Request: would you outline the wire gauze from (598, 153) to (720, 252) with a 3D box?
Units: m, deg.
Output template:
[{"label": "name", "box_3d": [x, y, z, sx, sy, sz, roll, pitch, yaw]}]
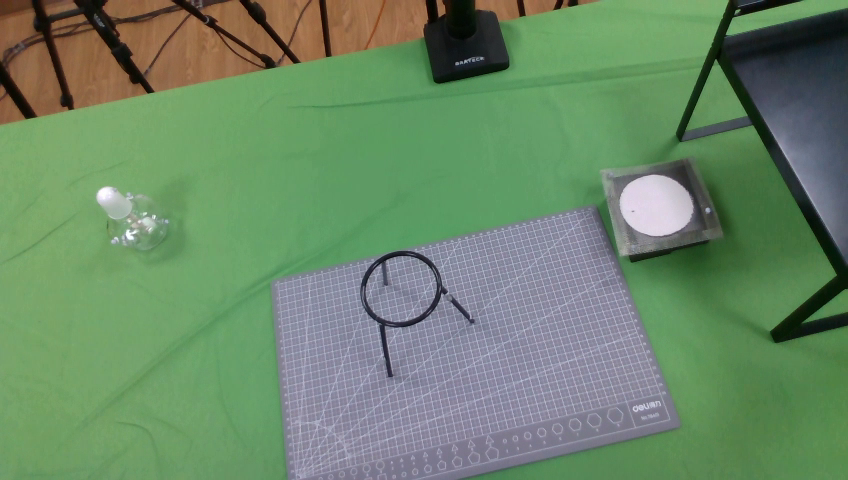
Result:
[{"label": "wire gauze", "box_3d": [0.287, -0.050, 0.749, 0.121, 0.011, 0.124, -8, 63, 4]}]

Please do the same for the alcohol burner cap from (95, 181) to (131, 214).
[{"label": "alcohol burner cap", "box_3d": [-0.408, -0.058, 0.789, 0.034, 0.048, 0.033, 0, 64, 0]}]

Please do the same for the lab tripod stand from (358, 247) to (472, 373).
[{"label": "lab tripod stand", "box_3d": [-0.023, 0.073, 0.708, 0.148, 0.132, 0.147, -3, 64, 7]}]

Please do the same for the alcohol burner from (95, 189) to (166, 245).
[{"label": "alcohol burner", "box_3d": [-0.404, -0.041, 0.821, 0.078, 0.120, 0.077, -2, 65, 5]}]
